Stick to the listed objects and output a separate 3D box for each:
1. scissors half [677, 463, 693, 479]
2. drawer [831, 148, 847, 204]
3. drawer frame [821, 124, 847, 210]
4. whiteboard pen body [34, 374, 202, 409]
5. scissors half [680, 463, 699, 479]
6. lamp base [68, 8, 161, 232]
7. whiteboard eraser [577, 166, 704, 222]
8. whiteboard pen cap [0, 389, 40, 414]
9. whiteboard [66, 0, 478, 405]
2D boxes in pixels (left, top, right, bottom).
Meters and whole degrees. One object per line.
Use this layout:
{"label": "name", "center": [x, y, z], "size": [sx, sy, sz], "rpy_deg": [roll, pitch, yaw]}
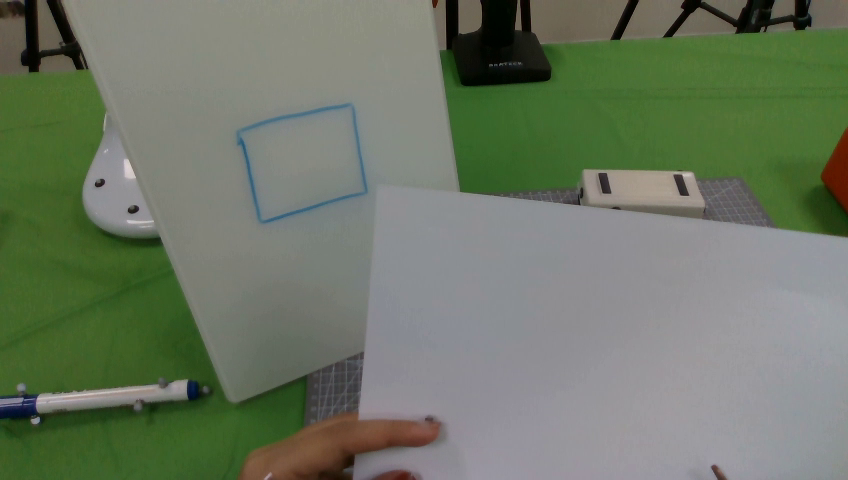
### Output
{"label": "scissors half", "center": [0.171, 0.169, 0.257], "size": [0.013, 0.040, 0.173], "rpy_deg": [-38, 67, -4]}
{"label": "drawer", "center": [0.519, -0.017, 0.542], "size": [0.194, 0.074, 0.209], "rpy_deg": [-2, 45, 0]}
{"label": "drawer frame", "center": [0.518, -0.022, 0.546], "size": [0.202, 0.083, 0.211], "rpy_deg": [-3, 45, -1]}
{"label": "whiteboard pen body", "center": [-0.243, 0.116, 0.460], "size": [0.141, 0.017, 0.017], "rpy_deg": [-4, 45, -8]}
{"label": "scissors half", "center": [0.173, 0.175, 0.276], "size": [0.013, 0.040, 0.175], "rpy_deg": [-36, 86, -9]}
{"label": "lamp base", "center": [-0.283, -0.125, 0.588], "size": [0.178, 0.182, 0.160], "rpy_deg": [26, 51, 27]}
{"label": "whiteboard eraser", "center": [0.210, -0.044, 0.597], "size": [0.112, 0.042, 0.055], "rpy_deg": [1, 44, 2]}
{"label": "whiteboard pen cap", "center": [-0.302, 0.120, 0.452], "size": [0.033, 0.018, 0.018], "rpy_deg": [-3, 45, -11]}
{"label": "whiteboard", "center": [-0.100, -0.067, 0.481], "size": [0.217, 0.308, 0.142], "rpy_deg": [-19, 29, -16]}
